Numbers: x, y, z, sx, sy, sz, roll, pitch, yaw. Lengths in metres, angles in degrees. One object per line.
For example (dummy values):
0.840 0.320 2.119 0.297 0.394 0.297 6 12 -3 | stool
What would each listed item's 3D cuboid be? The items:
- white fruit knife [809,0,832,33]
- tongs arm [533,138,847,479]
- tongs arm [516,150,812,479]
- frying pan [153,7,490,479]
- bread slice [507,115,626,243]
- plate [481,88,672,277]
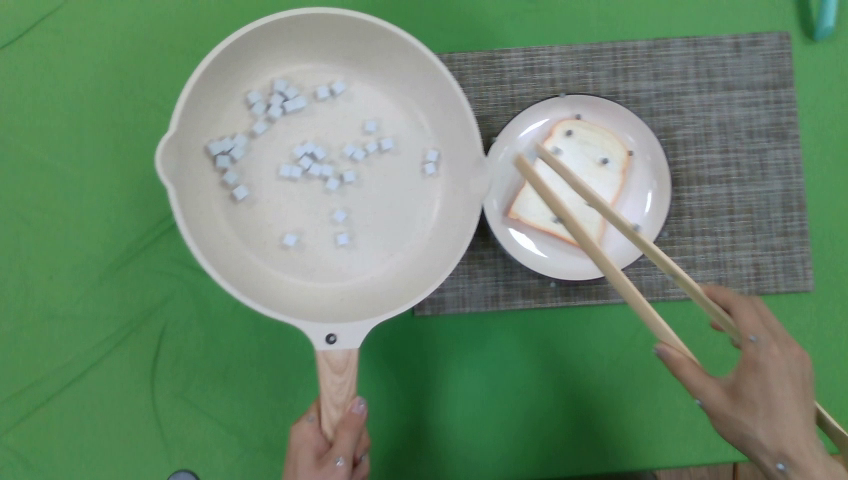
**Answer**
0.443 -0.338 0.668 0.016 0.027 0.208 -3 101 -1 | white fruit knife
0.222 0.057 0.519 0.383 0.026 0.050 44 75 10 | tongs arm
0.208 0.067 0.515 0.028 0.028 0.386 -37 79 -17 | tongs arm
-0.085 0.037 0.566 0.308 0.102 0.486 1 81 -19 | frying pan
0.162 -0.070 0.675 0.107 0.018 0.134 20 89 1 | bread slice
0.165 -0.062 0.672 0.208 0.039 0.207 0 87 1 | plate
